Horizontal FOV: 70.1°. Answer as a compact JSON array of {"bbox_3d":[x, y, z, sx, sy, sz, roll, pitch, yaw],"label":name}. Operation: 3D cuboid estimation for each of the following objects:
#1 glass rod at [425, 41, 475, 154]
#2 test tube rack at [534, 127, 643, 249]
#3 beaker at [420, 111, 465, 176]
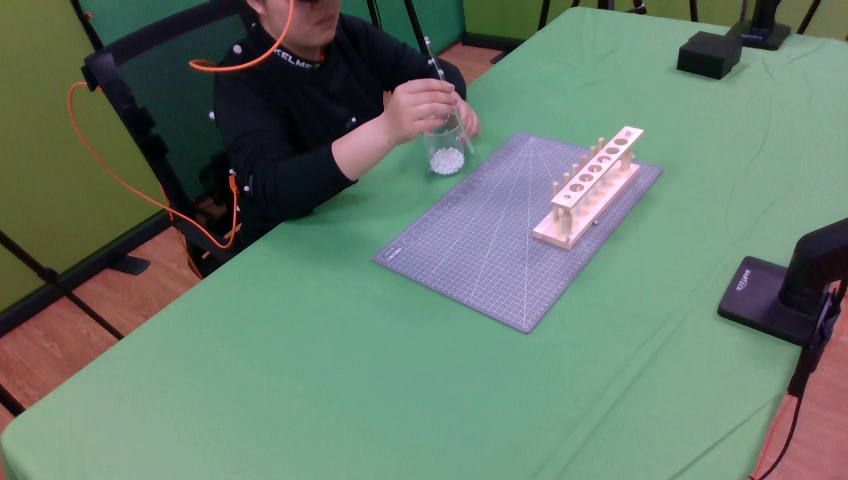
[{"bbox_3d":[0.041,-0.215,0.935,0.008,0.201,0.008,-18,35,14],"label":"glass rod"},{"bbox_3d":[0.272,-0.094,0.990,0.066,0.085,0.243,24,50,33],"label":"test tube rack"},{"bbox_3d":[0.039,-0.178,1.123,0.073,0.101,0.084,10,48,21],"label":"beaker"}]
